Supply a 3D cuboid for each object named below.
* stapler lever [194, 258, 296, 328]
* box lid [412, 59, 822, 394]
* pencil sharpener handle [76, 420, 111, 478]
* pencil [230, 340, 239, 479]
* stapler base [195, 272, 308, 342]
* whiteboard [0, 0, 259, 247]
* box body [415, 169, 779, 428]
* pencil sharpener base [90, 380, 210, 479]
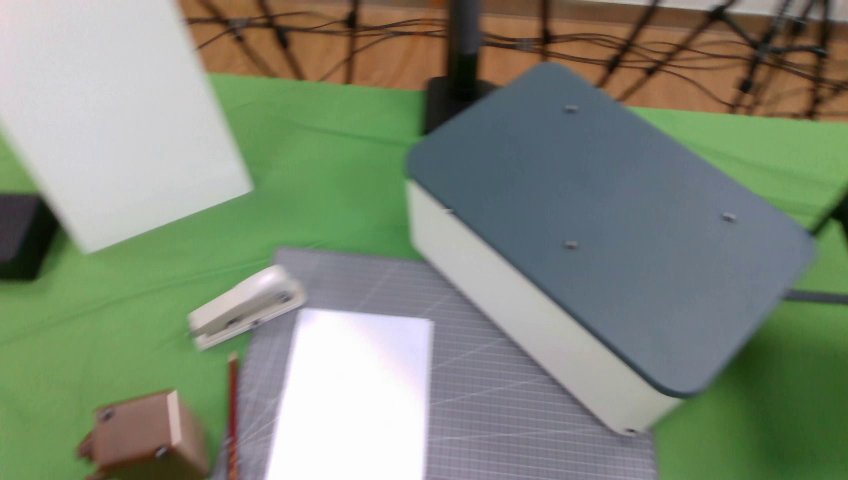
[{"bbox_3d":[-0.202,0.058,0.680,0.118,0.040,0.026,-25,56,-15],"label":"stapler lever"},{"bbox_3d":[0.191,-0.046,0.629,0.263,0.015,0.368,-35,65,-24],"label":"box lid"},{"bbox_3d":[-0.303,0.194,0.549,0.031,0.068,0.035,-13,41,-11],"label":"pencil sharpener handle"},{"bbox_3d":[-0.197,0.191,0.630,0.012,0.012,0.192,-6,56,-7],"label":"pencil"},{"bbox_3d":[-0.200,0.071,0.702,0.131,0.024,0.041,-25,57,-15],"label":"stapler base"},{"bbox_3d":[-0.364,-0.186,0.734,0.217,0.308,0.142,-24,41,-17],"label":"whiteboard"},{"bbox_3d":[0.189,-0.003,0.689,0.254,0.161,0.361,-36,65,-24],"label":"box body"},{"bbox_3d":[-0.256,0.187,0.572,0.077,0.108,0.060,-13,58,-11],"label":"pencil sharpener base"}]
